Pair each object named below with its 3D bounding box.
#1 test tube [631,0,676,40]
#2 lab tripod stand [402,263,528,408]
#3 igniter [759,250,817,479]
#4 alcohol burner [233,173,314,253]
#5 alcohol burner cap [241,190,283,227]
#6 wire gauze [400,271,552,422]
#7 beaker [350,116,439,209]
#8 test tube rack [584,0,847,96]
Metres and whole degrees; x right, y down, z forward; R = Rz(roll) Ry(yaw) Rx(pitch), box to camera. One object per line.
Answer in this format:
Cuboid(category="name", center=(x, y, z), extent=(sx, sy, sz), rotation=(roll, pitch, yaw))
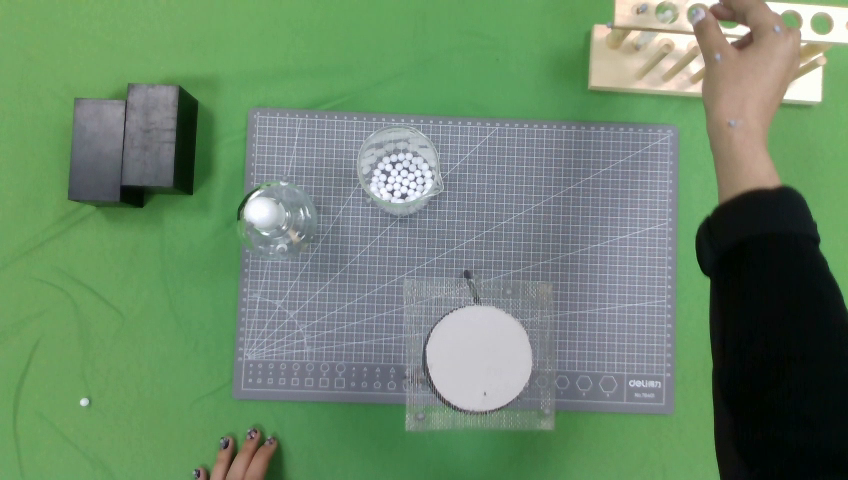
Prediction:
Cuboid(category="test tube", center=(0.224, -0.223, 0.555), extent=(0.017, 0.150, 0.017), rotation=(0, 82, -3))
Cuboid(category="lab tripod stand", center=(0.039, 0.092, 0.559), extent=(0.148, 0.131, 0.148), rotation=(0, 86, 1))
Cuboid(category="igniter", center=(0.372, 0.148, 0.618), extent=(0.057, 0.025, 0.276), rotation=(7, 87, -10))
Cuboid(category="alcohol burner", center=(-0.146, -0.028, 0.571), extent=(0.078, 0.119, 0.077), rotation=(0, 85, 0))
Cuboid(category="alcohol burner cap", center=(-0.144, -0.029, 0.536), extent=(0.034, 0.048, 0.034), rotation=(0, 89, -5))
Cuboid(category="wire gauze", center=(0.042, 0.086, 0.492), extent=(0.125, 0.011, 0.121), rotation=(0, 86, -1))
Cuboid(category="beaker", center=(-0.025, -0.068, 0.583), extent=(0.084, 0.100, 0.074), rotation=(27, 87, 0))
Cuboid(category="test tube rack", center=(0.292, -0.196, 0.604), extent=(0.242, 0.085, 0.066), rotation=(3, 86, -1))
